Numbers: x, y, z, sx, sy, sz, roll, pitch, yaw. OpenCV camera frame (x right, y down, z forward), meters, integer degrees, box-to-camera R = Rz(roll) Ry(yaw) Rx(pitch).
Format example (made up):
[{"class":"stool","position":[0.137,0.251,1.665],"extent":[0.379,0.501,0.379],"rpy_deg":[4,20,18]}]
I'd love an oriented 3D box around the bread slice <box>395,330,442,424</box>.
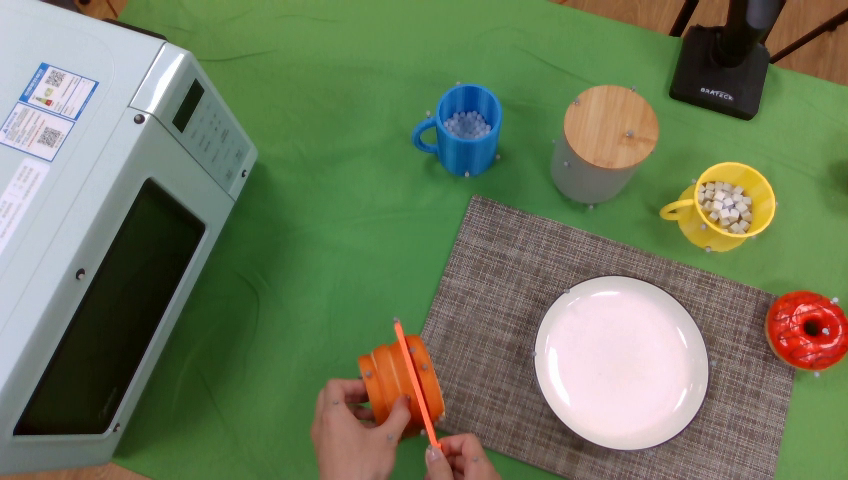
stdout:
[{"class":"bread slice","position":[-0.006,0.155,0.693],"extent":[0.019,0.132,0.104],"rpy_deg":[-17,74,-12]}]

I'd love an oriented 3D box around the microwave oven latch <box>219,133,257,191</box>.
[{"class":"microwave oven latch","position":[-0.251,-0.106,0.803],"extent":[0.030,0.029,0.079],"rpy_deg":[23,77,7]}]

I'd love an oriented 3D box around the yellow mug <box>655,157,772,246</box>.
[{"class":"yellow mug","position":[0.364,-0.047,0.777],"extent":[0.131,0.064,0.099],"rpy_deg":[-4,74,1]}]

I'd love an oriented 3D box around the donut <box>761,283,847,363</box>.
[{"class":"donut","position":[0.463,0.102,0.740],"extent":[0.099,0.048,0.098],"rpy_deg":[0,75,2]}]

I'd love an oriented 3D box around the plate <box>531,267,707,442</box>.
[{"class":"plate","position":[0.233,0.138,0.739],"extent":[0.207,0.039,0.206],"rpy_deg":[0,75,2]}]

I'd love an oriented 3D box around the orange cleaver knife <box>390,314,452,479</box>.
[{"class":"orange cleaver knife","position":[-0.001,0.174,0.623],"extent":[0.012,0.077,0.210],"rpy_deg":[-17,79,-7]}]

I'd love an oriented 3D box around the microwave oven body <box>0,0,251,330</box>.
[{"class":"microwave oven body","position":[-0.455,-0.022,0.684],"extent":[0.325,0.261,0.440],"rpy_deg":[20,76,6]}]

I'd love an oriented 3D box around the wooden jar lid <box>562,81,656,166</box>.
[{"class":"wooden jar lid","position":[0.214,-0.134,0.709],"extent":[0.108,0.021,0.107],"rpy_deg":[0,72,1]}]

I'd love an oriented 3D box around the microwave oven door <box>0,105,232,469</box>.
[{"class":"microwave oven door","position":[-0.335,0.062,0.652],"extent":[0.039,0.245,0.354],"rpy_deg":[19,75,7]}]

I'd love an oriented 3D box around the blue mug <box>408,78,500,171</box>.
[{"class":"blue mug","position":[0.038,-0.147,0.792],"extent":[0.116,0.106,0.082],"rpy_deg":[-6,74,0]}]

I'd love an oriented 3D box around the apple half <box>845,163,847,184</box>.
[{"class":"apple half","position":[0.566,-0.084,0.777],"extent":[0.033,0.081,0.081],"rpy_deg":[-12,74,-7]}]

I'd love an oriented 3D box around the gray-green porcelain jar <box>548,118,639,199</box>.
[{"class":"gray-green porcelain jar","position":[0.216,-0.116,0.769],"extent":[0.106,0.127,0.105],"rpy_deg":[0,74,2]}]

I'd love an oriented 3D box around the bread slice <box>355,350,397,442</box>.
[{"class":"bread slice","position":[-0.055,0.173,0.691],"extent":[0.018,0.135,0.106],"rpy_deg":[-19,71,-7]}]
